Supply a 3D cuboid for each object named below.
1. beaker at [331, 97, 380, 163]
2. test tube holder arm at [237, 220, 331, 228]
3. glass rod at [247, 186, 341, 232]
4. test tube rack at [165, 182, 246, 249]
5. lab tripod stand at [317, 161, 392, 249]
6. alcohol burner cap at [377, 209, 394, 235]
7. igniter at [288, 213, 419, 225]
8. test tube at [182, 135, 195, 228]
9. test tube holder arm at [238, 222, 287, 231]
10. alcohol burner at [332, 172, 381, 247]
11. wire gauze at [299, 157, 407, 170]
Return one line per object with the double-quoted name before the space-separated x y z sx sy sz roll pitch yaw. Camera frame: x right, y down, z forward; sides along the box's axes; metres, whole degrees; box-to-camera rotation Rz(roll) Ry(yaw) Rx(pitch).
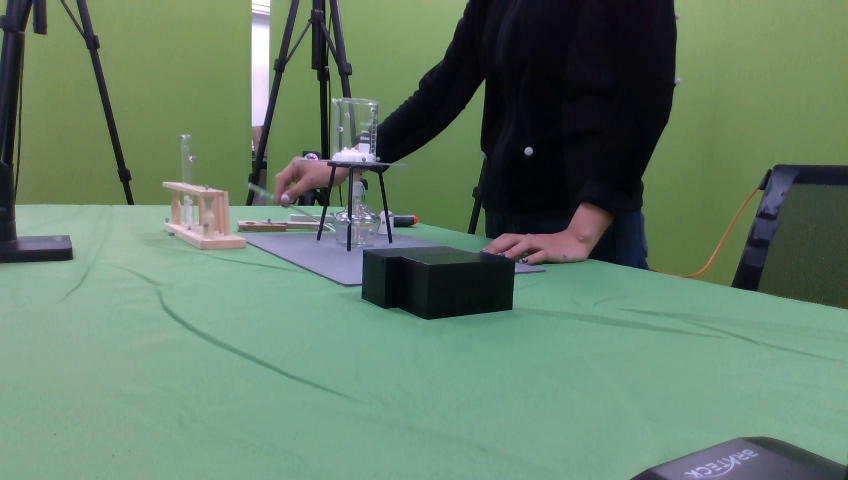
"beaker" -0.111 -0.171 0.950 0.073 0.100 0.084 12 12 42
"test tube holder arm" -0.261 -0.029 1.141 0.179 0.015 0.013 -2 42 -33
"glass rod" -0.234 -0.054 1.105 0.201 0.008 0.008 28 -10 -36
"test tube rack" -0.360 -0.044 0.982 0.067 0.085 0.241 -3 9 -34
"lab tripod stand" -0.111 -0.059 0.964 0.148 0.131 0.148 4 8 0
"alcohol burner cap" -0.072 -0.035 1.146 0.034 0.048 0.034 2 8 0
"igniter" -0.144 -0.044 1.277 0.278 0.025 0.057 -1 -2 -22
"test tube" -0.382 -0.095 0.983 0.017 0.150 0.017 -1 2 0
"test tube holder arm" -0.297 -0.024 1.113 0.088 0.015 0.010 -1 41 -32
"alcohol burner" -0.107 -0.048 0.961 0.078 0.119 0.078 1 9 0
"wire gauze" -0.112 -0.124 0.959 0.121 0.011 0.126 13 11 40
